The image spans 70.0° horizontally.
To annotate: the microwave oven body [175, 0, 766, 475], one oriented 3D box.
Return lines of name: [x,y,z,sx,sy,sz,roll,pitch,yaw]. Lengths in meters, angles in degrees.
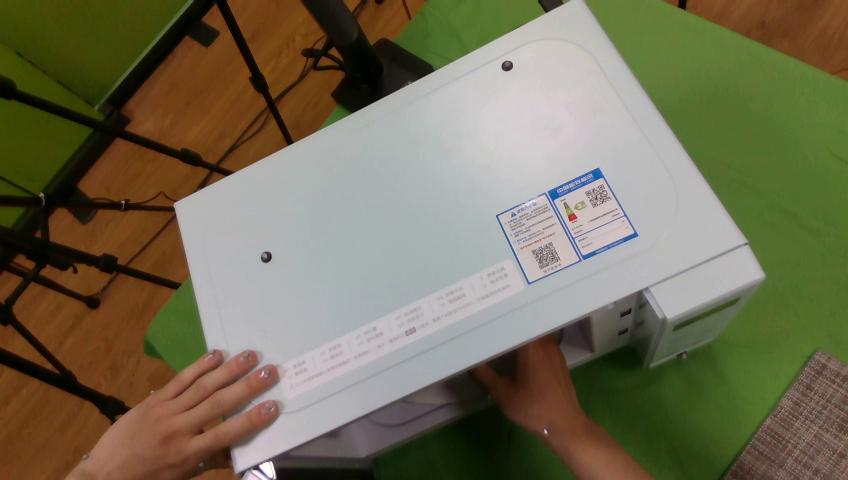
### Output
microwave oven body: [0.031,0.022,0.628,0.441,0.262,0.323,-26,66,7]

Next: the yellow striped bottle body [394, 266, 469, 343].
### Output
yellow striped bottle body: [0.008,0.066,0.628,0.062,0.121,0.062,-4,70,12]

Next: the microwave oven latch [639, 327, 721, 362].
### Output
microwave oven latch: [0.268,0.100,0.637,0.079,0.030,0.030,-24,66,7]

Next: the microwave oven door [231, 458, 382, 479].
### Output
microwave oven door: [0.021,0.301,0.518,0.353,0.246,0.039,27,79,23]
